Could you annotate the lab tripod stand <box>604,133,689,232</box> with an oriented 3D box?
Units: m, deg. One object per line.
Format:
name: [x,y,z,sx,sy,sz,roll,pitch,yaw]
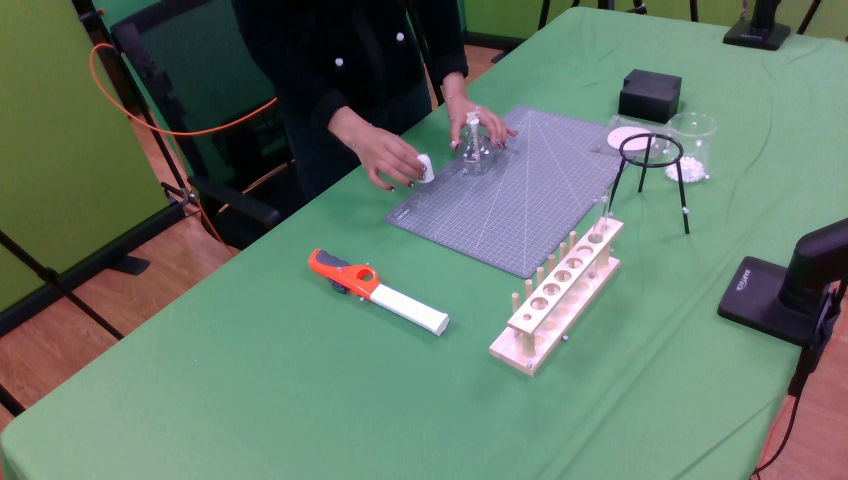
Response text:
lab tripod stand: [0.347,-0.086,0.932,0.148,0.132,0.147,-4,40,4]

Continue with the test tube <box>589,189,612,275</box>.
test tube: [0.238,-0.007,0.818,0.017,0.151,0.017,-3,43,4]

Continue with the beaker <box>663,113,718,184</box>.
beaker: [0.442,-0.151,1.018,0.084,0.101,0.074,-1,40,11]

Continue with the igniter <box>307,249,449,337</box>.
igniter: [-0.079,0.073,0.905,0.274,0.025,0.057,24,61,32]

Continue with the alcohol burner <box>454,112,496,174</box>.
alcohol burner: [0.092,-0.182,1.102,0.078,0.119,0.077,-5,42,5]

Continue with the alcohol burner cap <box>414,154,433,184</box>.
alcohol burner cap: [-0.003,-0.124,1.034,0.034,0.048,0.033,-3,39,3]

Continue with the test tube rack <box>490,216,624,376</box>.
test tube rack: [0.184,0.064,0.822,0.066,0.085,0.243,24,50,33]

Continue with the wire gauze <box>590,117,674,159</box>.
wire gauze: [0.393,-0.192,1.139,0.120,0.011,0.125,19,47,28]
